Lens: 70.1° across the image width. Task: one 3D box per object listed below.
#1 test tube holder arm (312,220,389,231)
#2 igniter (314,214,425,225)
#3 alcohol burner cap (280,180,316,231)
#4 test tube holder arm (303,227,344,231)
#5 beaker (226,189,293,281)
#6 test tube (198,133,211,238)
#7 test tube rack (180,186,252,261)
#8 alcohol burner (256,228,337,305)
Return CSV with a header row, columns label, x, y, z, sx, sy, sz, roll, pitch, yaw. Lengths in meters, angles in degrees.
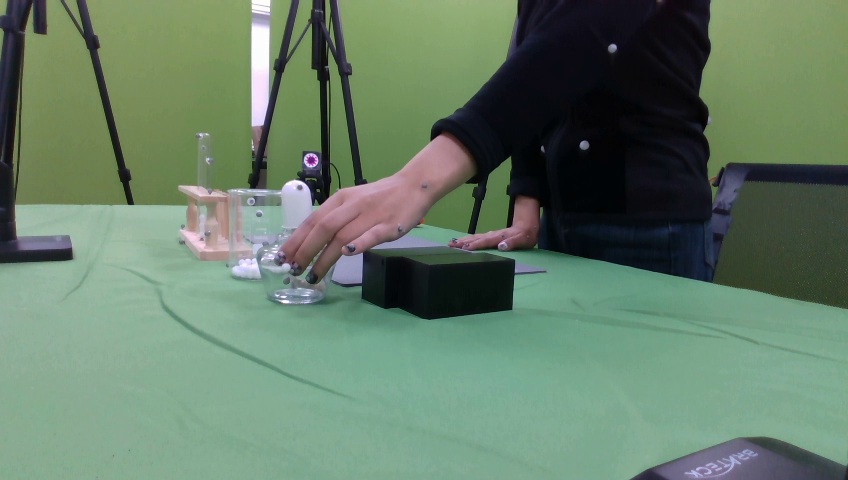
label,x,y,z,sx,sy,sz,roll,pitch,yaw
test tube holder arm,-0.153,-0.028,1.174,0.179,0.015,0.013,1,-26,-21
igniter,-0.129,-0.043,1.273,0.278,0.025,0.057,-1,-2,-26
alcohol burner cap,-0.123,-0.034,0.583,0.034,0.048,0.034,-3,11,1
test tube holder arm,-0.197,-0.026,1.163,0.088,0.015,0.010,0,-26,-20
beaker,-0.184,-0.007,0.694,0.084,0.100,0.073,-1,8,-29
test tube,-0.316,-0.078,0.871,0.017,0.150,0.017,2,3,0
test tube rack,-0.312,-0.031,0.893,0.067,0.085,0.241,-1,8,-27
alcohol burner,-0.124,0.002,0.588,0.078,0.119,0.078,1,7,0
